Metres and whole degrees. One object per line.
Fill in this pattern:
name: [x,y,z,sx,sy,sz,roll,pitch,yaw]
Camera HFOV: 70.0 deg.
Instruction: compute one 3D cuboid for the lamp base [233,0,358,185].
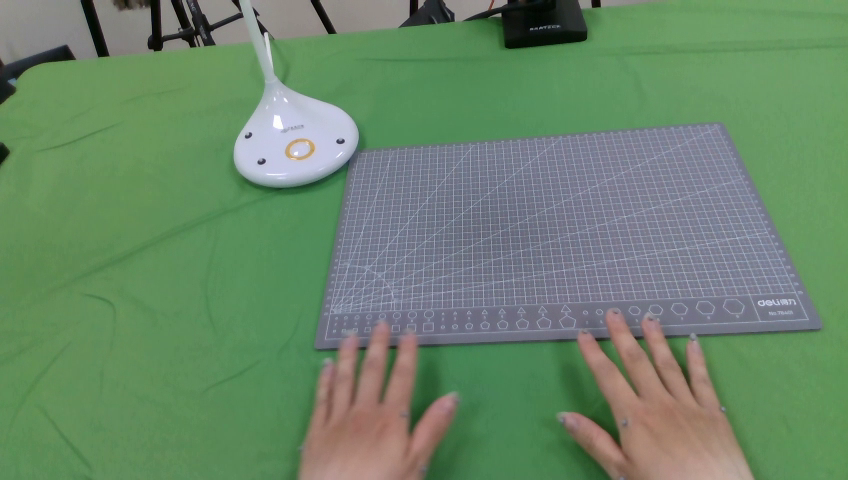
lamp base: [-0.179,-0.185,0.726,0.161,0.182,0.177,-25,45,-14]
